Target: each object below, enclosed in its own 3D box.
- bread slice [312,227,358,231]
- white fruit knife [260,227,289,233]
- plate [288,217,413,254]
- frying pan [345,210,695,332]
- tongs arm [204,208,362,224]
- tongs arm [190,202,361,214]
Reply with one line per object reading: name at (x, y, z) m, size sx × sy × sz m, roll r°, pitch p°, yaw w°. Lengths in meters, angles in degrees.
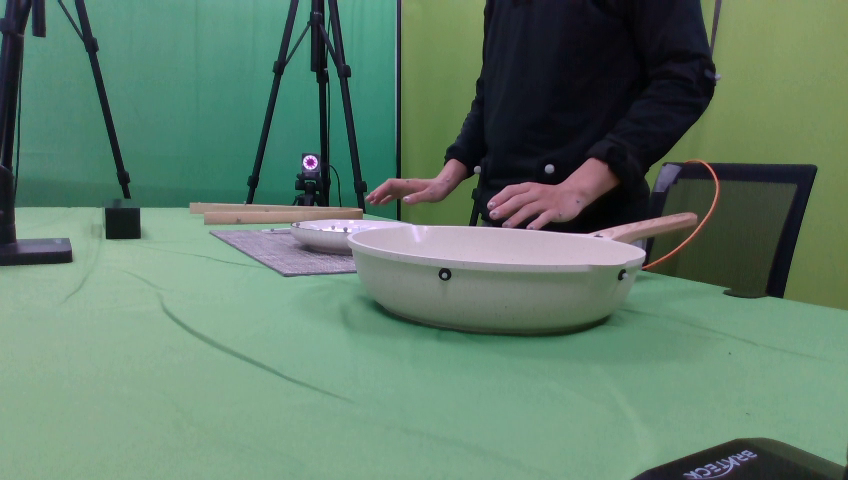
bread slice at (-0.115, -0.005, 0.950) m, size 0.134 × 0.018 × 0.107 m, roll 3°, pitch 6°, yaw -7°
white fruit knife at (-0.205, -0.022, 1.136) m, size 0.208 × 0.016 × 0.027 m, roll -4°, pitch -19°, yaw -33°
plate at (-0.109, -0.007, 0.956) m, size 0.208 × 0.039 × 0.207 m, roll 2°, pitch 7°, yaw 0°
frying pan at (0.153, 0.009, 0.668) m, size 0.490 × 0.102 × 0.305 m, roll -12°, pitch 15°, yaw -32°
tongs arm at (-0.292, -0.054, 1.336) m, size 0.390 × 0.028 × 0.028 m, roll -4°, pitch 7°, yaw -40°
tongs arm at (-0.333, -0.068, 1.403) m, size 0.387 × 0.026 × 0.050 m, roll 0°, pitch 9°, yaw -27°
